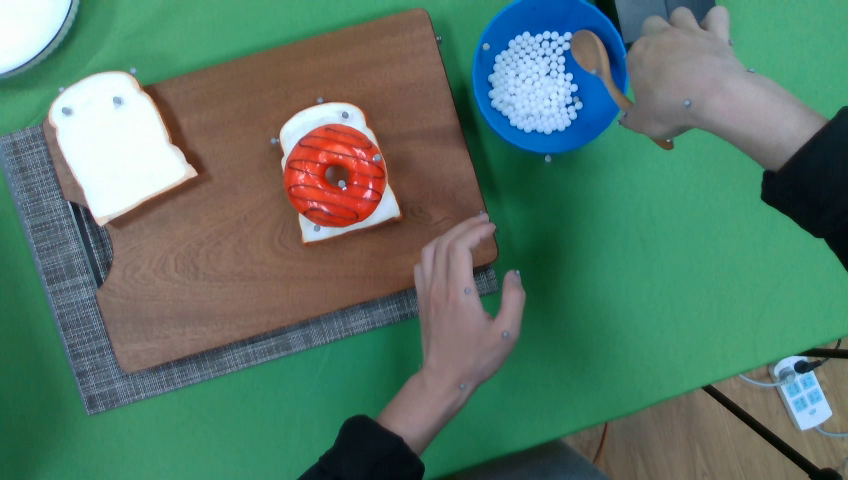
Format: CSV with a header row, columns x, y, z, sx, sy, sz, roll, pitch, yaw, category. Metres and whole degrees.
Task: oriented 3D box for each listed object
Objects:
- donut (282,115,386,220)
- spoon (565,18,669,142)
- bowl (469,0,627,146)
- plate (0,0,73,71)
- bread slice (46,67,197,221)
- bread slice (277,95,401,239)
x,y,z,sx,sy,sz,roll,pitch,yaw,category
-0.085,-0.067,0.574,0.099,0.048,0.099,0,93,-4,donut
0.167,-0.143,0.540,0.021,0.191,0.042,-10,137,-3,spoon
0.116,-0.164,0.608,0.151,0.076,0.151,0,93,-2,bowl
-0.446,-0.265,0.598,0.208,0.039,0.207,0,92,-3,plate
-0.301,-0.098,0.591,0.107,0.018,0.134,-31,92,-2,bread slice
-0.092,-0.076,0.604,0.105,0.019,0.131,-18,94,-3,bread slice
